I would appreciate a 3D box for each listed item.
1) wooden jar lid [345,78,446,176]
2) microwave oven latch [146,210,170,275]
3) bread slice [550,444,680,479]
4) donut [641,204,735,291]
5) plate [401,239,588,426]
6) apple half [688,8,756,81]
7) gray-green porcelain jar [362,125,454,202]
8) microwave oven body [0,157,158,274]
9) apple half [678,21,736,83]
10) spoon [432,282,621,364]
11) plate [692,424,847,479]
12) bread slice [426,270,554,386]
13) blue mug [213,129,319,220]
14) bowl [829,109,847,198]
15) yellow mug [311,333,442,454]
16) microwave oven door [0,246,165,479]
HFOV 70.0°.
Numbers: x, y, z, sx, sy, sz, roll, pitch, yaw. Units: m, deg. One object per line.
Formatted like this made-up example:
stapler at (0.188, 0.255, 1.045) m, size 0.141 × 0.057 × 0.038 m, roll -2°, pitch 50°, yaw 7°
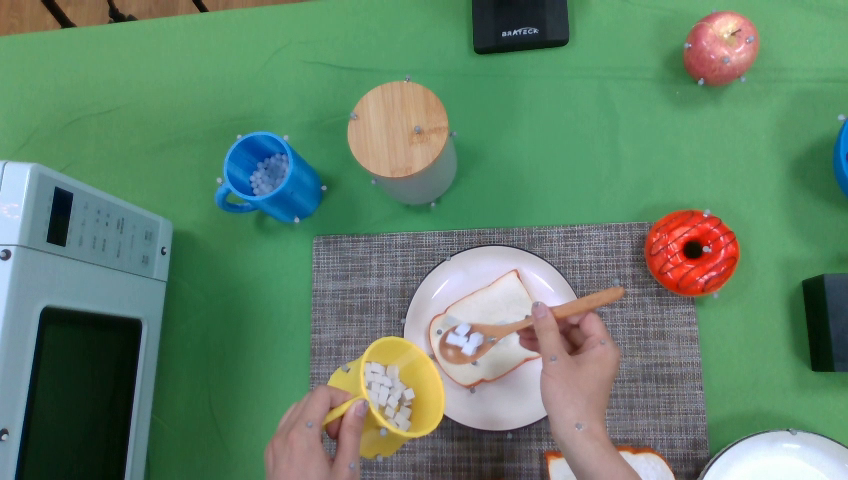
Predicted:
wooden jar lid at (-0.029, -0.118, 0.642) m, size 0.108 × 0.021 × 0.108 m, roll -2°, pitch 77°, yaw 8°
microwave oven latch at (-0.338, 0.003, 0.754) m, size 0.030 × 0.029 × 0.079 m, roll 3°, pitch 81°, yaw 8°
bread slice at (0.203, 0.268, 0.619) m, size 0.134 × 0.018 × 0.106 m, roll -6°, pitch 75°, yaw -13°
donut at (0.292, 0.008, 0.675) m, size 0.099 × 0.048 × 0.098 m, roll -1°, pitch 80°, yaw 8°
plate at (0.079, 0.104, 0.691) m, size 0.207 × 0.039 × 0.206 m, roll -2°, pitch 79°, yaw 8°
apple half at (0.348, -0.230, 0.700) m, size 0.053 × 0.075 × 0.080 m, roll -34°, pitch 72°, yaw -5°
gray-green porcelain jar at (-0.020, -0.105, 0.703) m, size 0.106 × 0.127 × 0.105 m, roll -2°, pitch 79°, yaw 8°
microwave oven body at (-0.505, 0.157, 0.650) m, size 0.325 × 0.261 × 0.440 m, roll 1°, pitch 80°, yaw 8°
apple half at (0.316, -0.207, 0.699) m, size 0.033 × 0.082 × 0.081 m, roll -34°, pitch 76°, yaw -4°
spoon at (0.096, 0.079, 0.585) m, size 0.193 × 0.022 × 0.041 m, roll -22°, pitch 79°, yaw 23°
plate at (0.371, 0.293, 0.617) m, size 0.209 × 0.038 × 0.208 m, roll -2°, pitch 79°, yaw 8°
bread slice at (0.070, 0.107, 0.695) m, size 0.131 × 0.019 × 0.104 m, roll -26°, pitch 75°, yaw -1°
blue mug at (-0.196, -0.068, 0.731) m, size 0.116 × 0.106 × 0.082 m, roll -28°, pitch 76°, yaw 3°
bowl at (0.503, -0.085, 0.648) m, size 0.151 × 0.077 × 0.150 m, roll -2°, pitch 80°, yaw 8°
yellow mug at (-0.050, 0.151, 0.579) m, size 0.064 × 0.131 × 0.099 m, roll -39°, pitch 70°, yaw 38°
microwave oven door at (-0.364, 0.199, 0.617) m, size 0.039 × 0.245 × 0.354 m, roll 0°, pitch 79°, yaw 9°
